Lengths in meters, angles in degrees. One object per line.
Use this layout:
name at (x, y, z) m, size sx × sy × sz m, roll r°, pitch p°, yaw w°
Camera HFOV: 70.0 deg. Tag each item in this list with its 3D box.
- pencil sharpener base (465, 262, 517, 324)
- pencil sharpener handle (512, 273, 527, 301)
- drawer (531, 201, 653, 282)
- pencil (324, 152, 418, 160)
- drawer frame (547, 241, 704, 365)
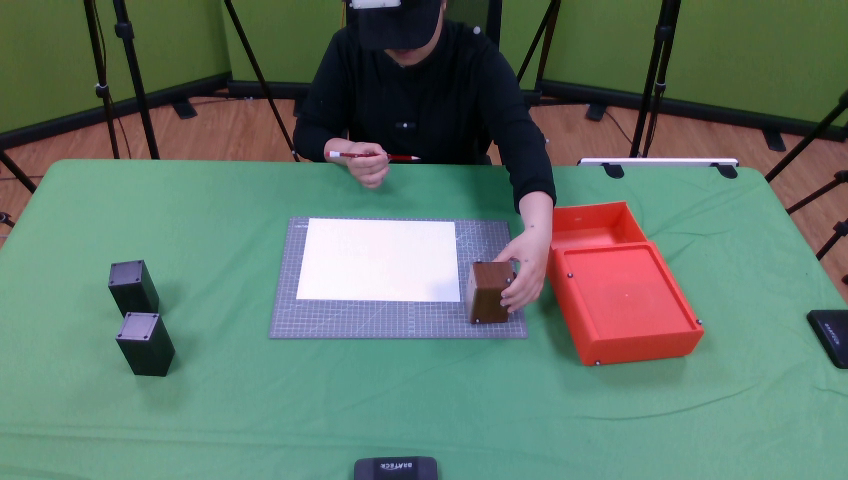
pencil sharpener base at (0.116, 0.093, 1.052) m, size 0.077 × 0.107 × 0.061 m, roll -1°, pitch 46°, yaw -6°
pencil sharpener handle at (0.168, 0.082, 1.049) m, size 0.031 × 0.068 × 0.036 m, roll -1°, pitch 49°, yaw -5°
drawer at (0.329, 0.024, 1.159) m, size 0.195 × 0.073 × 0.210 m, roll -4°, pitch 45°, yaw -9°
pencil at (-0.107, -0.170, 1.233) m, size 0.194 × 0.012 × 0.012 m, roll 2°, pitch 45°, yaw -3°
drawer frame at (0.348, 0.105, 1.077) m, size 0.202 × 0.083 × 0.212 m, roll -4°, pitch 46°, yaw -9°
